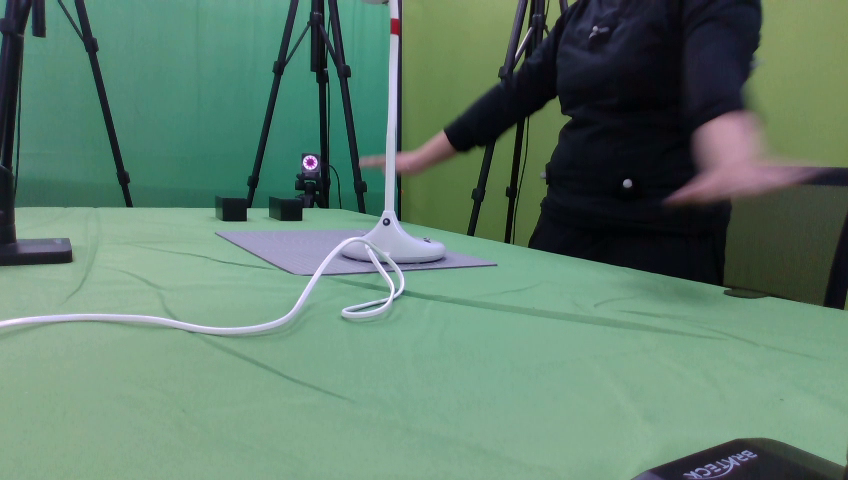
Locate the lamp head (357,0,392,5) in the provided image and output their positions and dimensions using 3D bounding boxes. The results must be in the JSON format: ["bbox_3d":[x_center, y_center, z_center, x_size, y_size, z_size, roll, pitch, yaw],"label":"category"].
[{"bbox_3d":[-0.056,-0.383,0.819,0.113,0.112,0.122,0,13,-22],"label":"lamp head"}]

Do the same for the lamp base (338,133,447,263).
[{"bbox_3d":[-0.043,-0.062,0.868,0.161,0.180,0.179,2,10,-3],"label":"lamp base"}]
